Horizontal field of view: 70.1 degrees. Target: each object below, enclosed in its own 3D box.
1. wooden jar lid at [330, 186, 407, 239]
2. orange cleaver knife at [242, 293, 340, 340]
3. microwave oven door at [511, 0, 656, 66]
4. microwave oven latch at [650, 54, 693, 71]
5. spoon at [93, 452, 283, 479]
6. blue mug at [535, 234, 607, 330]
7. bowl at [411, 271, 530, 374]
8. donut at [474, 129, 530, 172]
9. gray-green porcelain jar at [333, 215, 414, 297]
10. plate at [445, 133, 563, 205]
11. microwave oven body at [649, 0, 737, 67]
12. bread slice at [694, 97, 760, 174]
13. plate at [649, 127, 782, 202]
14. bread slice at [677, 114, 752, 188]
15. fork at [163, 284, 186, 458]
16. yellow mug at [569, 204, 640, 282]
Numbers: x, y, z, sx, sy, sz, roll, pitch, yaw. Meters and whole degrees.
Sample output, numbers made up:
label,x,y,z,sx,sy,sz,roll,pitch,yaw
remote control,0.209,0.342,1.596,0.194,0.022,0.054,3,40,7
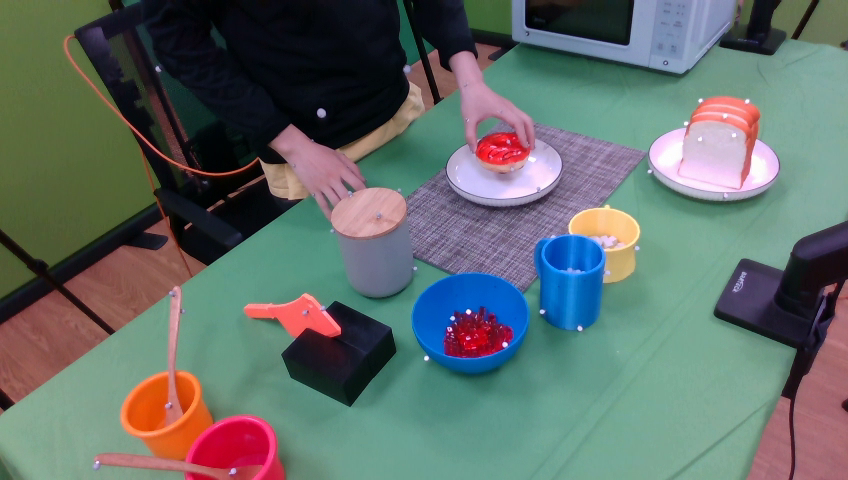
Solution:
label,x,y,z,sx,sy,sz,roll,pitch,yaw
wooden jar lid,-0.077,-0.035,0.846,0.108,0.021,0.108,-5,41,5
orange cleaver knife,-0.186,0.107,0.827,0.210,0.077,0.012,-9,29,48
microwave oven door,0.350,-0.539,1.349,0.353,0.245,0.039,24,50,31
microwave oven latch,0.531,-0.386,1.301,0.078,0.029,0.030,26,51,33
spoon,-0.240,0.239,0.632,0.195,0.021,0.041,26,34,-32
blue mug,0.191,0.048,0.824,0.082,0.106,0.115,-26,44,-20
bowl,0.061,0.120,0.780,0.151,0.077,0.150,-4,40,4
donut,0.135,-0.158,1.052,0.099,0.048,0.098,-1,39,1
gray-green porcelain jar,-0.071,0.012,0.887,0.106,0.127,0.105,-4,41,4
plate,0.142,-0.123,1.076,0.209,0.038,0.208,-4,41,4
microwave oven body,0.475,-0.602,1.411,0.438,0.261,0.327,23,50,32
bread slice,0.497,-0.173,1.004,0.106,0.135,0.018,23,51,26
plate,0.493,-0.127,1.036,0.207,0.039,0.206,-4,41,4
bread slice,0.467,-0.144,0.976,0.104,0.132,0.019,18,55,30
fork,-0.302,0.157,0.733,0.028,0.019,0.207,-3,84,15
yellow mug,0.268,-0.005,0.904,0.099,0.064,0.130,7,41,15
